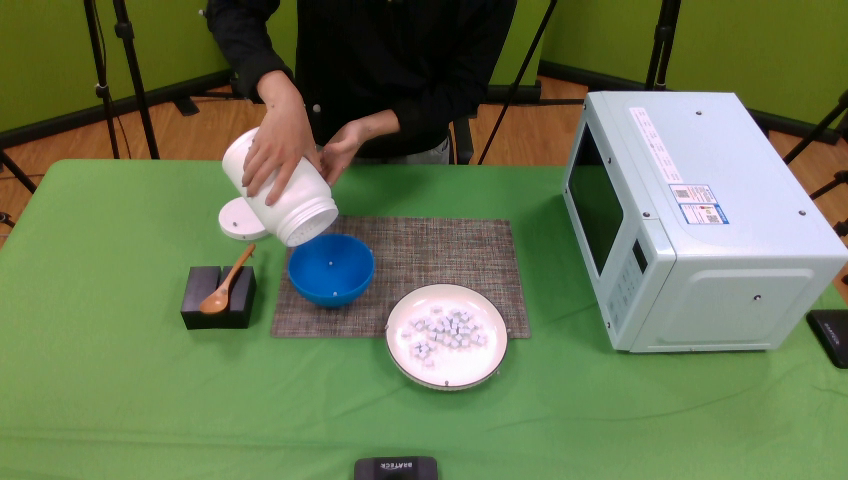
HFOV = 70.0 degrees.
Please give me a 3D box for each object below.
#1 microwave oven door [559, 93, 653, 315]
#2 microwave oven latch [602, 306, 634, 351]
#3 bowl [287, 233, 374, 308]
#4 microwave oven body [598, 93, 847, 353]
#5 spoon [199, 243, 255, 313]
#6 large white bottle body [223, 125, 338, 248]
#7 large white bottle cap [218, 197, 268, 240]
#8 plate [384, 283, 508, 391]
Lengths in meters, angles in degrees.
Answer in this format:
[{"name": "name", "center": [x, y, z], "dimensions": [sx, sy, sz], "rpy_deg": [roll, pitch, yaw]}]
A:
[{"name": "microwave oven door", "center": [0.327, -0.074, 1.123], "dimensions": [0.039, 0.245, 0.353], "rpy_deg": [-1, 46, -5]}, {"name": "microwave oven latch", "center": [0.332, 0.153, 1.044], "dimensions": [0.030, 0.029, 0.078], "rpy_deg": [0, 45, -4]}, {"name": "bowl", "center": [-0.164, 0.068, 1.078], "dimensions": [0.151, 0.077, 0.150], "rpy_deg": [3, 46, -2]}, {"name": "microwave oven body", "center": [0.475, -0.041, 1.109], "dimensions": [0.326, 0.261, 0.438], "rpy_deg": [-1, 45, -4]}, {"name": "spoon", "center": [-0.334, 0.062, 1.051], "dimensions": [0.041, 0.022, 0.193], "rpy_deg": [9, 40, 7]}, {"name": "large white bottle body", "center": [-0.245, -0.090, 1.048], "dimensions": [0.130, 0.131, 0.184], "rpy_deg": [-32, 79, -30]}, {"name": "large white bottle cap", "center": [-0.355, -0.045, 1.220], "dimensions": [0.115, 0.018, 0.114], "rpy_deg": [2, 45, -2]}, {"name": "plate", "center": [0.036, 0.165, 1.029], "dimensions": [0.209, 0.038, 0.208], "rpy_deg": [2, 49, -2]}]
